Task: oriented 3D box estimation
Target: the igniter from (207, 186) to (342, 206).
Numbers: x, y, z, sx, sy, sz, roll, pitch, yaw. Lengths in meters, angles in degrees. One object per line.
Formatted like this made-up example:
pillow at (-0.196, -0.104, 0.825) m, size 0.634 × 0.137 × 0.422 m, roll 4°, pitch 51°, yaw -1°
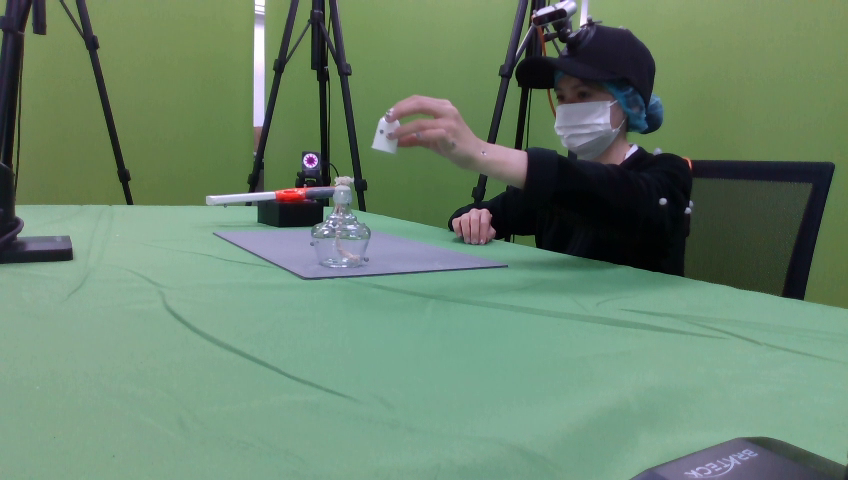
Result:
igniter at (-0.300, -0.091, 1.241) m, size 0.278 × 0.025 × 0.057 m, roll -8°, pitch 11°, yaw -34°

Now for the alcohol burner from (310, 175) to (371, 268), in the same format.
alcohol burner at (-0.107, -0.024, 0.778) m, size 0.078 × 0.119 × 0.078 m, roll 3°, pitch 5°, yaw 0°

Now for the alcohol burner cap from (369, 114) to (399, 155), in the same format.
alcohol burner cap at (-0.048, -0.133, 0.756) m, size 0.034 × 0.048 × 0.034 m, roll 14°, pitch 4°, yaw -1°
